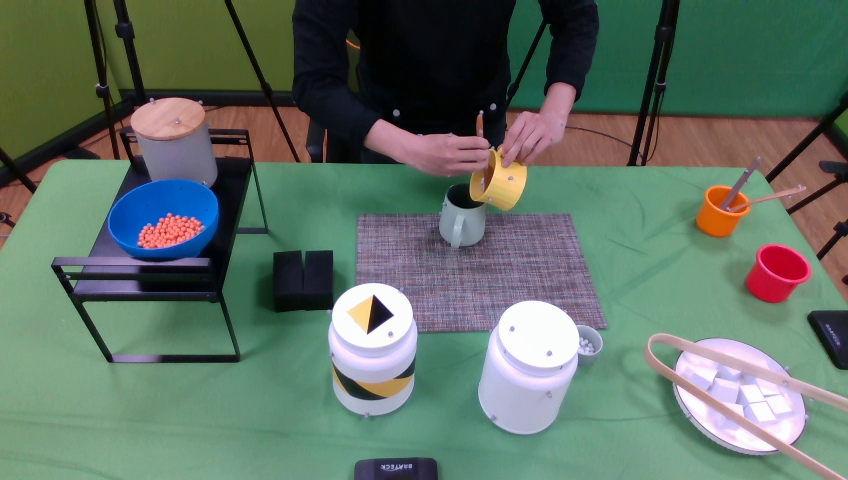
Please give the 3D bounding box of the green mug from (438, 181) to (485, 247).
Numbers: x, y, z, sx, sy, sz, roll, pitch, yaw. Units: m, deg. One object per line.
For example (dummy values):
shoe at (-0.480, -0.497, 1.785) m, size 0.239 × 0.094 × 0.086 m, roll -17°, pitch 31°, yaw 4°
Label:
green mug at (0.072, -0.039, 1.178) m, size 0.092 × 0.105 × 0.124 m, roll 12°, pitch 47°, yaw 7°

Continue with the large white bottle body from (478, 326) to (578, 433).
large white bottle body at (0.156, 0.192, 0.913) m, size 0.131 × 0.185 × 0.130 m, roll 2°, pitch 46°, yaw -2°

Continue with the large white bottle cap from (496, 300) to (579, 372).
large white bottle cap at (0.160, 0.133, 0.852) m, size 0.115 × 0.018 × 0.114 m, roll 3°, pitch 46°, yaw -3°

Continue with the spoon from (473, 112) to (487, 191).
spoon at (0.095, -0.151, 1.058) m, size 0.021 × 0.195 × 0.041 m, roll 19°, pitch 62°, yaw 21°

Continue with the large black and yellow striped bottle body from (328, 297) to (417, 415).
large black and yellow striped bottle body at (-0.078, 0.167, 0.920) m, size 0.131 × 0.185 × 0.130 m, roll 2°, pitch 46°, yaw -2°

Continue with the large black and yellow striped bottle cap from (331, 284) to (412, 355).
large black and yellow striped bottle cap at (-0.073, 0.111, 0.858) m, size 0.115 × 0.019 × 0.114 m, roll 2°, pitch 46°, yaw -1°

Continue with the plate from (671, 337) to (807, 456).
plate at (0.504, 0.254, 0.984) m, size 0.208 × 0.039 × 0.206 m, roll 2°, pitch 46°, yaw -2°

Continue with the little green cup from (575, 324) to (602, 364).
little green cup at (0.269, 0.179, 1.036) m, size 0.061 × 0.039 × 0.061 m, roll 3°, pitch 46°, yaw -2°

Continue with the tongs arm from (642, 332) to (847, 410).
tongs arm at (0.546, 0.227, 0.968) m, size 0.384 × 0.026 × 0.050 m, roll 22°, pitch 52°, yaw 13°

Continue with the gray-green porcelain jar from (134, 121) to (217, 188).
gray-green porcelain jar at (-0.396, -0.141, 0.979) m, size 0.106 × 0.127 × 0.105 m, roll 2°, pitch 47°, yaw -2°

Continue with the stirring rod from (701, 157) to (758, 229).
stirring rod at (0.634, -0.097, 1.257) m, size 0.014 × 0.006 × 0.176 m, roll 38°, pitch 97°, yaw 30°

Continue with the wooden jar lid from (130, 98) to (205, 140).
wooden jar lid at (-0.393, -0.183, 0.934) m, size 0.108 × 0.021 × 0.107 m, roll 2°, pitch 44°, yaw -2°

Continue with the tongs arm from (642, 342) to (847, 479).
tongs arm at (0.504, 0.279, 0.918) m, size 0.386 × 0.028 × 0.028 m, roll 33°, pitch 59°, yaw 22°

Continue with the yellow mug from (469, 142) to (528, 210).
yellow mug at (0.140, -0.123, 1.101) m, size 0.064 × 0.131 × 0.099 m, roll 17°, pitch 33°, yaw -20°

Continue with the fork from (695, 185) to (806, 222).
fork at (0.658, -0.074, 1.230) m, size 0.207 × 0.019 × 0.028 m, roll -23°, pitch 36°, yaw 37°

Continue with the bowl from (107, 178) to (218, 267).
bowl at (-0.374, -0.014, 0.893) m, size 0.151 × 0.077 × 0.150 m, roll 2°, pitch 46°, yaw -2°
